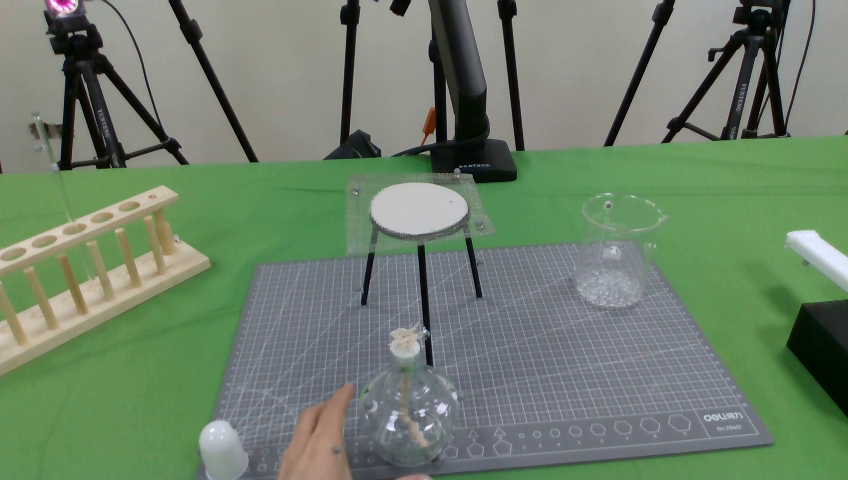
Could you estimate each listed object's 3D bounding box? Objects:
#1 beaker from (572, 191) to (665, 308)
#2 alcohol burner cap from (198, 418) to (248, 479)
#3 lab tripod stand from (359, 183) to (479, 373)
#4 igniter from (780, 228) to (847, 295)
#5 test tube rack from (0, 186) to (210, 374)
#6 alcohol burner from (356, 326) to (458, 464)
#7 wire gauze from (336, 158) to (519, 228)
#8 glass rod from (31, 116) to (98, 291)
[{"bbox_3d":[0.191,0.012,0.610,0.084,0.101,0.073,1,34,3],"label":"beaker"},{"bbox_3d":[-0.154,0.156,0.459,0.034,0.048,0.033,0,34,0],"label":"alcohol burner cap"},{"bbox_3d":[-0.002,0.027,0.564,0.148,0.132,0.147,0,34,0],"label":"lab tripod stand"},{"bbox_3d":[0.397,0.063,0.509,0.057,0.025,0.274,-5,30,-4],"label":"igniter"},{"bbox_3d":[-0.351,0.036,0.615,0.066,0.086,0.242,25,42,34],"label":"test tube rack"},{"bbox_3d":[-0.013,0.111,0.455,0.078,0.120,0.077,0,33,0],"label":"alcohol burner"},{"bbox_3d":[0.000,-0.041,0.515,0.125,0.011,0.120,-9,30,-25],"label":"wire gauze"},{"bbox_3d":[-0.347,-0.027,0.589,0.008,0.201,0.008,2,36,-1],"label":"glass rod"}]
